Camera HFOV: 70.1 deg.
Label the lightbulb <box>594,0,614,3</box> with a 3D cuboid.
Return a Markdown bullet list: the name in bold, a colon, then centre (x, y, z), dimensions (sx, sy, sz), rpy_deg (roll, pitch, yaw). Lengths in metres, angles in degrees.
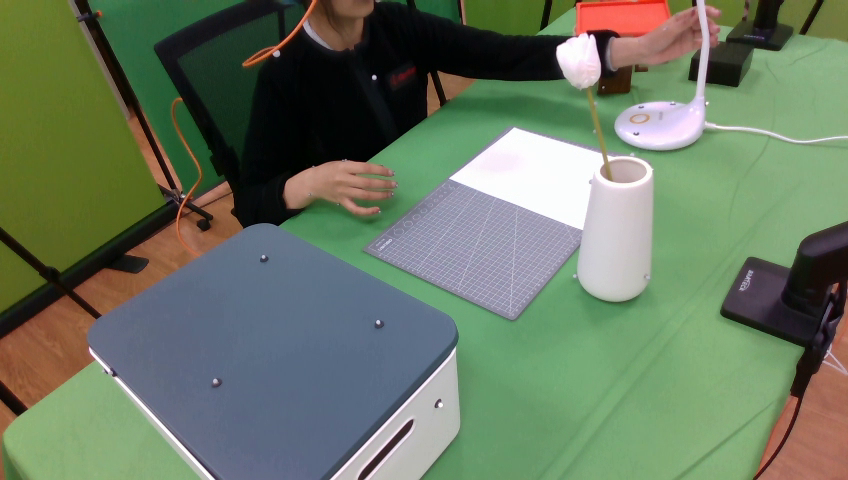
- **lightbulb**: centre (0.305, -0.437, 0.977), dimensions (0.060, 0.107, 0.059), rpy_deg (12, 45, -11)

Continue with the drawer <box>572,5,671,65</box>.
- **drawer**: centre (0.461, -0.489, 1.435), dimensions (0.211, 0.073, 0.194), rpy_deg (2, 41, 12)

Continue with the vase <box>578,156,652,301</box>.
- **vase**: centre (0.261, -0.011, 0.812), dimensions (0.098, 0.201, 0.097), rpy_deg (-4, 40, 4)

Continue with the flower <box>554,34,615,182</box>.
- **flower**: centre (0.237, -0.083, 0.774), dimensions (0.044, 0.363, 0.038), rpy_deg (-22, 26, 6)

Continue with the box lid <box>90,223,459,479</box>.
- **box lid**: centre (-0.174, 0.102, 0.666), dimensions (0.368, 0.015, 0.264), rpy_deg (24, 48, 35)

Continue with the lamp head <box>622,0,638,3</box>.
- **lamp head**: centre (0.319, -0.453, 0.962), dimensions (0.113, 0.123, 0.112), rpy_deg (20, 33, -13)

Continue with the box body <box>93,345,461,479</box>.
- **box body**: centre (-0.162, 0.170, 0.708), dimensions (0.361, 0.161, 0.255), rpy_deg (25, 50, 34)

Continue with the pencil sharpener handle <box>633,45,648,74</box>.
- **pencil sharpener handle**: centre (0.454, -0.378, 1.262), dimensions (0.030, 0.068, 0.036), rpy_deg (1, 48, 13)

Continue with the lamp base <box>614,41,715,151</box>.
- **lamp base**: centre (0.449, -0.277, 1.106), dimensions (0.179, 0.181, 0.160), rpy_deg (1, 41, 9)

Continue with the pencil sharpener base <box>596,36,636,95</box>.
- **pencil sharpener base**: centre (0.405, -0.369, 1.280), dimensions (0.076, 0.107, 0.061), rpy_deg (1, 41, 13)

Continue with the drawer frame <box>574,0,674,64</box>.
- **drawer frame**: centre (0.464, -0.492, 1.434), dimensions (0.213, 0.083, 0.201), rpy_deg (1, 40, 12)

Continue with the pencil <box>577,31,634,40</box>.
- **pencil**: centre (0.430, -0.487, 1.443), dimensions (0.012, 0.012, 0.192), rpy_deg (-25, 30, -18)
